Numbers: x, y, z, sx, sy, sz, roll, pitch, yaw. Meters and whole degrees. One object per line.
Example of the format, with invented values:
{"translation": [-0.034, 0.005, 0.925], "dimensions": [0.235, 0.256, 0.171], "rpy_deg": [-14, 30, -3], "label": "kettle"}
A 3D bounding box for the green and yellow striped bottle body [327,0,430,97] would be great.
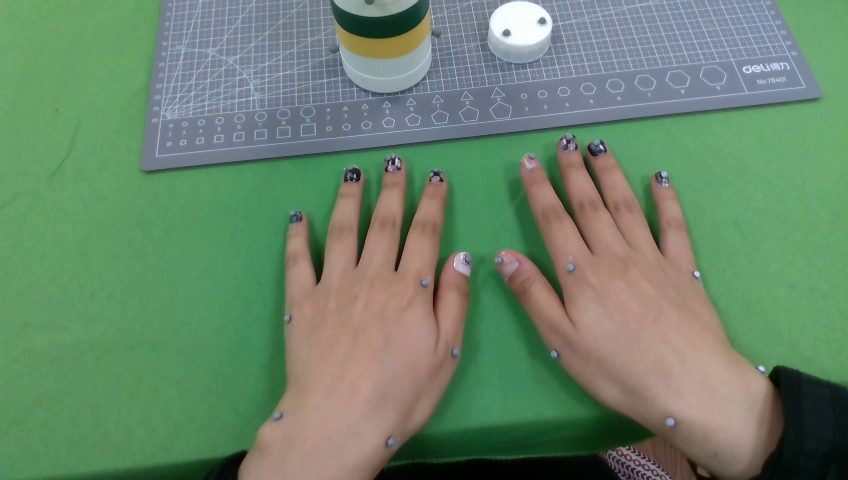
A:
{"translation": [-0.029, -0.151, 0.372], "dimensions": [0.063, 0.120, 0.062], "rpy_deg": [-1, 62, 2], "label": "green and yellow striped bottle body"}

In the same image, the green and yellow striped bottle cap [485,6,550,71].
{"translation": [0.065, -0.142, 0.425], "dimensions": [0.045, 0.020, 0.045], "rpy_deg": [0, 64, 1], "label": "green and yellow striped bottle cap"}
